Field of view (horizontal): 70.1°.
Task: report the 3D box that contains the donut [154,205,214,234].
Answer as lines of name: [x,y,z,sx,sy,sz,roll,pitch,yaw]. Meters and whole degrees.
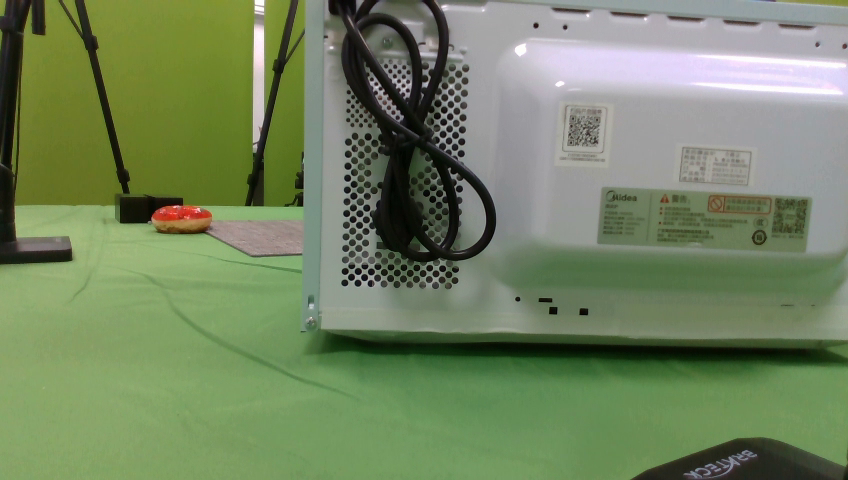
donut: [-0.426,-0.037,1.075,0.099,0.048,0.099,2,12,0]

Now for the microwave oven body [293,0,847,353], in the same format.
microwave oven body: [0.122,-0.055,0.550,0.442,0.260,0.325,3,7,-5]

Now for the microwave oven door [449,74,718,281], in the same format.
microwave oven door: [0.191,-0.090,0.813,0.354,0.243,0.039,8,10,36]

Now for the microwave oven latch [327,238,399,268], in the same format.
microwave oven latch: [-0.069,0.015,0.694,0.079,0.029,0.030,3,7,-3]
